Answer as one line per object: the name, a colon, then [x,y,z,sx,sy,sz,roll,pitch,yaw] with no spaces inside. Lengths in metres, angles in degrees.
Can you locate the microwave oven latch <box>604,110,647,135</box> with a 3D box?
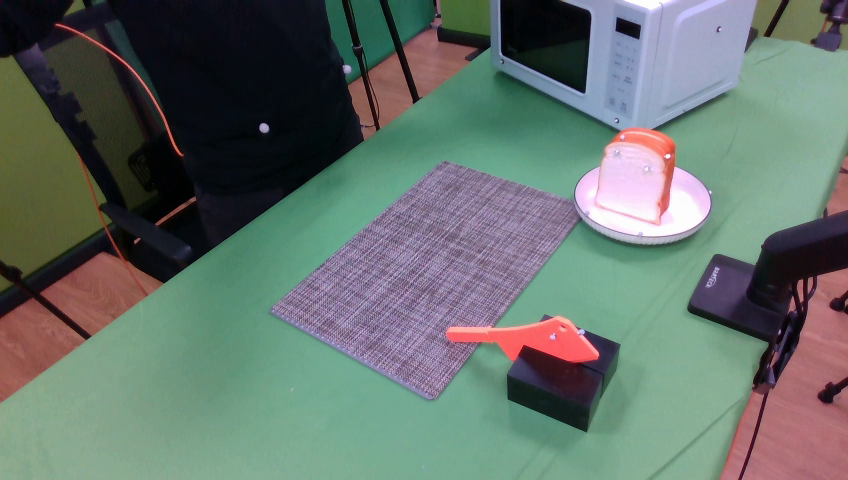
microwave oven latch: [0.378,-0.225,1.139,0.030,0.029,0.078,-27,44,-20]

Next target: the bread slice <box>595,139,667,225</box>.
bread slice: [0.320,-0.093,0.936,0.106,0.135,0.018,17,44,31]

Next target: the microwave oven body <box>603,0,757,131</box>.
microwave oven body: [0.396,-0.448,1.248,0.327,0.261,0.437,-27,44,-21]

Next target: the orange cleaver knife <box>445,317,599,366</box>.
orange cleaver knife: [0.115,0.129,0.751,0.210,0.077,0.012,-11,30,45]

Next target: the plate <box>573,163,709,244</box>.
plate: [0.347,-0.059,0.979,0.207,0.039,0.206,-4,41,4]

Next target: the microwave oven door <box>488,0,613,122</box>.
microwave oven door: [0.250,-0.412,1.219,0.039,0.245,0.352,-27,44,-21]
